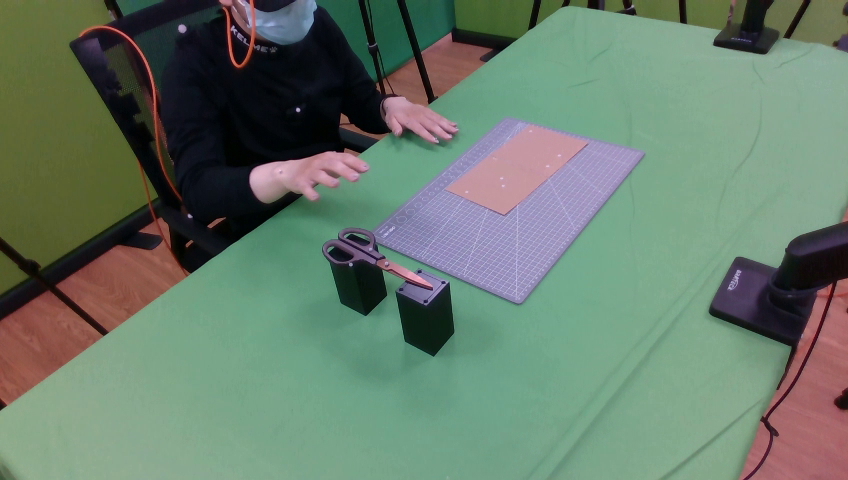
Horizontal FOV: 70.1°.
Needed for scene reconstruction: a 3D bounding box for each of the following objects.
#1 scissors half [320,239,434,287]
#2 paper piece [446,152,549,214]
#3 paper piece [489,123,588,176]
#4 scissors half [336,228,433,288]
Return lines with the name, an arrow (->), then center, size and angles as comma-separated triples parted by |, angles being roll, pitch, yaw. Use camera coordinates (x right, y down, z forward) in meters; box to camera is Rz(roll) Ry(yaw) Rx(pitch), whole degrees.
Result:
scissors half -> -0.064, 0.033, 0.790 | 0.174, 0.013, 0.040 | 17, 39, 22
paper piece -> 0.130, -0.105, 1.078 | 0.134, 0.004, 0.136 | 29, 53, 32
paper piece -> 0.218, -0.176, 1.150 | 0.135, 0.009, 0.138 | 30, 52, 31
scissors half -> -0.052, 0.023, 0.803 | 0.173, 0.013, 0.040 | 31, 51, 34
